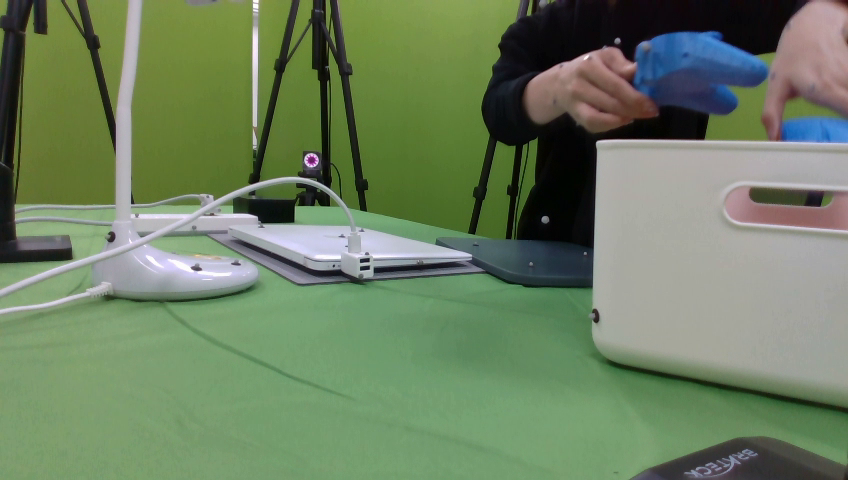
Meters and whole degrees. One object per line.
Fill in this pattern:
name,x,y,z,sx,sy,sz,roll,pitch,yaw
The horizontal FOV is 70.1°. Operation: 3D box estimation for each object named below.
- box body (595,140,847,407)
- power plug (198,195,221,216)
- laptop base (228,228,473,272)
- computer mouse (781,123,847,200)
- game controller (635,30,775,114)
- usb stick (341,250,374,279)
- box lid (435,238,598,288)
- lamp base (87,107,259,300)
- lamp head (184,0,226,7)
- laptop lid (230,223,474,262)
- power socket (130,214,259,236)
box body,0.309,0.006,0.509,0.253,0.160,0.366,6,8,29
power plug,-0.386,-0.055,1.088,0.035,0.052,0.072,-2,6,-24
laptop base,-0.123,0.012,0.888,0.237,0.023,0.352,2,6,-35
computer mouse,0.340,-0.071,0.515,0.062,0.041,0.117,7,33,26
game controller,0.235,-0.146,0.523,0.097,0.051,0.155,3,2,18
usb stick,-0.078,0.026,0.686,0.021,0.027,0.059,-7,8,-30
box lid,0.186,0.029,0.897,0.264,0.015,0.370,1,7,-16
lamp base,-0.254,-0.039,0.603,0.160,0.180,0.179,5,10,18
lamp head,-0.229,-0.320,0.627,0.112,0.112,0.123,6,-35,26
laptop lid,-0.121,0.000,0.888,0.243,0.013,0.355,1,7,-33
power socket,-0.397,-0.028,1.048,0.228,0.032,0.072,-3,7,-35
